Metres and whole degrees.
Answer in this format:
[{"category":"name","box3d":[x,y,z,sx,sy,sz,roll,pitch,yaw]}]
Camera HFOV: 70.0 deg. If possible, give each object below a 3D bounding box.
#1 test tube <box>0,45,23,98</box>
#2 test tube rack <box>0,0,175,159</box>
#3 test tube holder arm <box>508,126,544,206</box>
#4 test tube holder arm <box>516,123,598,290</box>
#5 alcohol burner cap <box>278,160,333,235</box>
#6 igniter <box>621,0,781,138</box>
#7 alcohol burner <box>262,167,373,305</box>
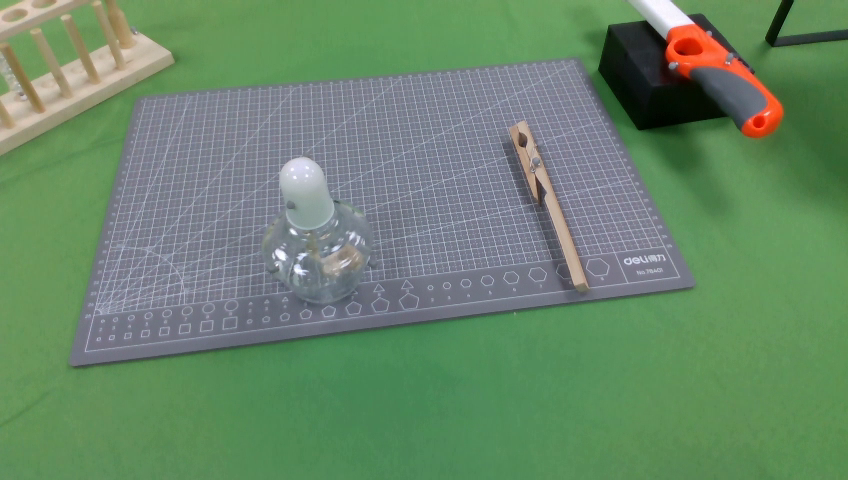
[{"category":"test tube","box3d":[-0.389,-0.190,0.527,0.017,0.151,0.017,0,47,0]},{"category":"test tube rack","box3d":[-0.367,-0.155,0.562,0.066,0.086,0.242,34,58,25]},{"category":"test tube holder arm","box3d":[0.091,-0.065,0.526,0.010,0.015,0.087,-32,49,22]},{"category":"test tube holder arm","box3d":[0.104,-0.034,0.496,0.013,0.015,0.176,-34,48,21]},{"category":"alcohol burner cap","box3d":[-0.078,-0.030,0.388,0.034,0.048,0.033,0,53,1]},{"category":"igniter","box3d":[0.237,-0.183,0.556,0.057,0.025,0.273,-13,49,-6]},{"category":"alcohol burner","box3d":[-0.076,-0.008,0.416,0.078,0.120,0.077,-1,52,1]}]
